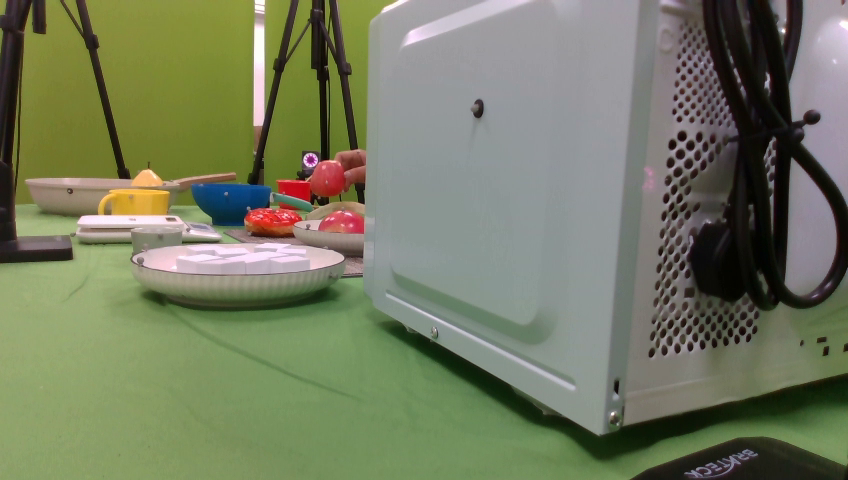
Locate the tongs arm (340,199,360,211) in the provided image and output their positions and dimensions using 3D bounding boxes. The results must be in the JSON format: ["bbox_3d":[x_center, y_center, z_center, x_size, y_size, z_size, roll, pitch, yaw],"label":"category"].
[{"bbox_3d":[-0.150,-0.070,1.429,0.051,0.026,0.383,-4,9,-15],"label":"tongs arm"}]

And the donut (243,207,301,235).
[{"bbox_3d":[-0.261,-0.032,1.043,0.099,0.048,0.099,4,9,0],"label":"donut"}]

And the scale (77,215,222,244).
[{"bbox_3d":[-0.434,-0.019,0.963,0.202,0.031,0.148,-1,9,-27],"label":"scale"}]

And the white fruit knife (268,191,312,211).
[{"bbox_3d":[-0.364,-0.105,1.464,0.208,0.027,0.016,15,0,-34],"label":"white fruit knife"}]

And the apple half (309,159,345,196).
[{"bbox_3d":[-0.184,-0.120,1.187,0.082,0.081,0.032,-4,25,-38],"label":"apple half"}]

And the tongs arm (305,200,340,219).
[{"bbox_3d":[-0.236,-0.068,1.414,0.028,0.028,0.387,-6,8,1],"label":"tongs arm"}]

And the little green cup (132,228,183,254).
[{"bbox_3d":[-0.342,0.006,0.779,0.061,0.038,0.061,2,8,0],"label":"little green cup"}]

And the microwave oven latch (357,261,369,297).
[{"bbox_3d":[-0.019,0.033,0.531,0.079,0.029,0.030,-1,7,-27],"label":"microwave oven latch"}]

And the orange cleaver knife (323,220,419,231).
[{"bbox_3d":[-0.096,-0.027,1.152,0.077,0.012,0.212,2,6,41],"label":"orange cleaver knife"}]

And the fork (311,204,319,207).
[{"bbox_3d":[-0.356,-0.105,1.526,0.208,0.018,0.028,16,-5,-41],"label":"fork"}]

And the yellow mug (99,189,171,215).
[{"bbox_3d":[-0.519,-0.055,1.080,0.099,0.064,0.131,7,9,26],"label":"yellow mug"}]

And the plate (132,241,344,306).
[{"bbox_3d":[-0.187,0.033,0.625,0.208,0.039,0.207,2,8,0],"label":"plate"}]

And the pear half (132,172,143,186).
[{"bbox_3d":[-0.638,-0.113,1.361,0.031,0.088,0.070,5,11,4],"label":"pear half"}]

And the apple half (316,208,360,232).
[{"bbox_3d":[-0.122,-0.020,0.901,0.080,0.053,0.075,5,11,22],"label":"apple half"}]

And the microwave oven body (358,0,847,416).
[{"bbox_3d":[0.211,-0.047,0.474,0.444,0.260,0.324,-1,7,-28],"label":"microwave oven body"}]

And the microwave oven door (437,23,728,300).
[{"bbox_3d":[0.180,-0.072,0.621,0.358,0.243,0.039,-2,8,-29],"label":"microwave oven door"}]

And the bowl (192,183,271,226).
[{"bbox_3d":[-0.382,-0.071,1.202,0.151,0.077,0.151,3,7,0],"label":"bowl"}]

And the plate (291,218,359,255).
[{"bbox_3d":[-0.098,-0.007,0.928,0.209,0.038,0.209,2,8,0],"label":"plate"}]

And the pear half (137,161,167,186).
[{"bbox_3d":[-0.602,-0.120,1.354,0.056,0.110,0.076,4,11,6],"label":"pear half"}]

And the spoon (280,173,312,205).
[{"bbox_3d":[-0.316,-0.159,1.640,0.194,0.022,0.041,-50,31,-20],"label":"spoon"}]

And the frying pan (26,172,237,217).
[{"bbox_3d":[-0.624,-0.118,1.387,0.305,0.102,0.490,8,17,32],"label":"frying pan"}]
